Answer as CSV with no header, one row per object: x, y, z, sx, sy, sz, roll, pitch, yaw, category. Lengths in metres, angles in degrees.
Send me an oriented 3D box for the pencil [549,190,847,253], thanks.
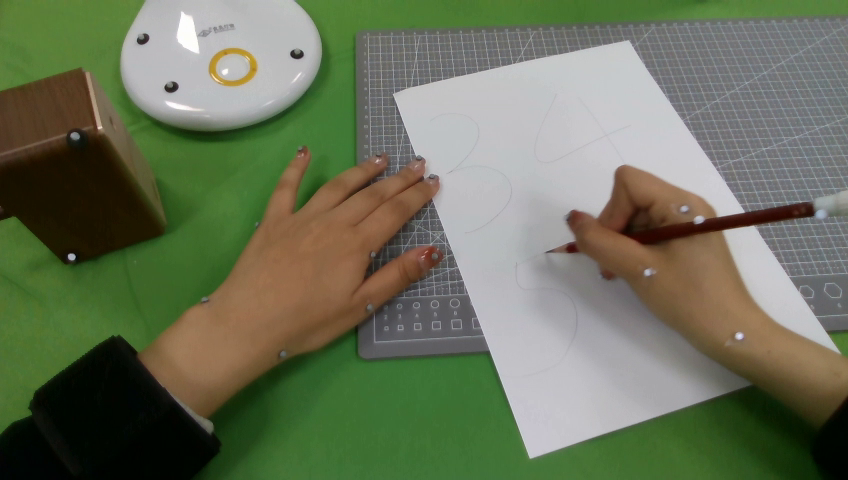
0.146,-0.006,0.341,0.012,0.193,0.012,8,77,-38,pencil

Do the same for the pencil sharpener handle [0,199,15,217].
-0.269,-0.032,0.360,0.031,0.068,0.035,-22,65,-12,pencil sharpener handle

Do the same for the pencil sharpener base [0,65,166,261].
-0.222,-0.043,0.382,0.077,0.108,0.061,-21,62,-12,pencil sharpener base

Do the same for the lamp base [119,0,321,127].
-0.172,-0.203,0.435,0.160,0.182,0.177,-31,62,-18,lamp base
